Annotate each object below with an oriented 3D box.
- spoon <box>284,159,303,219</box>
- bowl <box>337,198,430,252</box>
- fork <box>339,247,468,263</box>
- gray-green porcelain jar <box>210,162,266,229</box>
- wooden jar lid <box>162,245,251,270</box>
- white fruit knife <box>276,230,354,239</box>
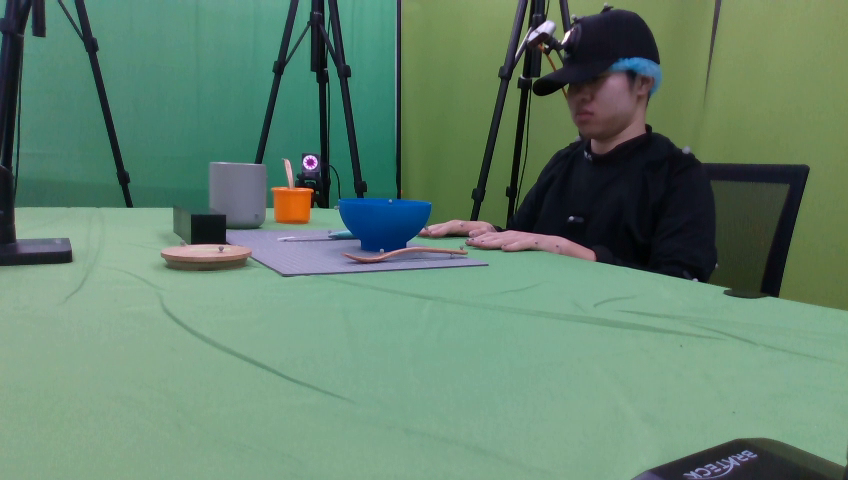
[{"bbox_3d":[-0.302,-0.118,1.370,0.042,0.193,0.021,4,-39,-24],"label":"spoon"},{"bbox_3d":[-0.066,-0.024,0.967,0.151,0.077,0.151,3,7,0],"label":"bowl"},{"bbox_3d":[-0.023,0.020,0.863,0.208,0.018,0.028,-4,2,-31],"label":"fork"},{"bbox_3d":[-0.367,-0.088,1.195,0.106,0.126,0.106,3,8,0],"label":"gray-green porcelain jar"},{"bbox_3d":[-0.278,0.022,0.777,0.108,0.020,0.108,2,6,0],"label":"wooden jar lid"},{"bbox_3d":[-0.159,-0.009,1.058,0.208,0.016,0.027,-3,-5,-33],"label":"white fruit knife"}]
